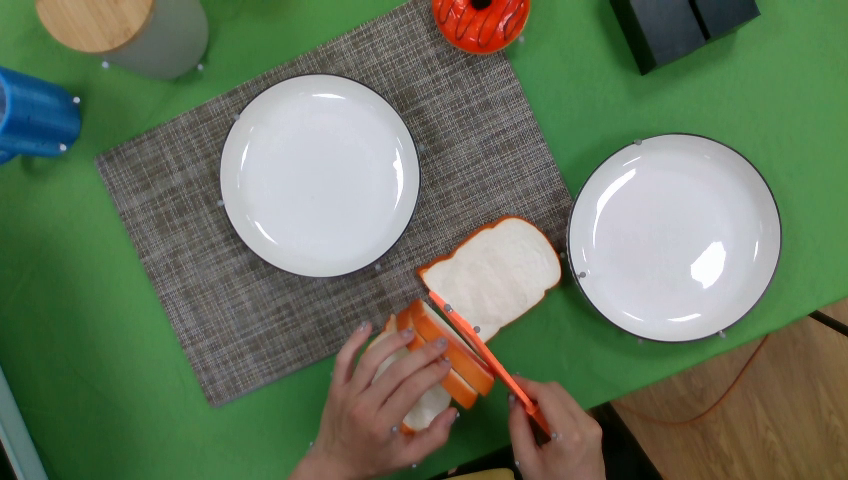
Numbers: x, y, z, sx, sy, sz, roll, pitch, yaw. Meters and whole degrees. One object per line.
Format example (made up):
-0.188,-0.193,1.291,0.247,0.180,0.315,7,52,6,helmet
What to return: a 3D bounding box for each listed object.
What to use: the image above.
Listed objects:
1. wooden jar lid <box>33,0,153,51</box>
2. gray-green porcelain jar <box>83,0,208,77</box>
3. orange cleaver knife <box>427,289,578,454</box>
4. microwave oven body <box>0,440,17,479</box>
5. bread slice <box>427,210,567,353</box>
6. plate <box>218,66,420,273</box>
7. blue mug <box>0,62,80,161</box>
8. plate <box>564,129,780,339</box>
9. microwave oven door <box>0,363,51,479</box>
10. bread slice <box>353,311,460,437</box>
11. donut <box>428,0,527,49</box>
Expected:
-0.284,-0.218,0.526,0.108,0.021,0.108,0,92,5,wooden jar lid
-0.280,-0.220,0.588,0.106,0.126,0.106,0,93,4,gray-green porcelain jar
0.073,0.123,0.561,0.012,0.076,0.213,-44,113,-9,orange cleaver knife
-0.613,0.221,0.564,0.326,0.260,0.442,-22,92,4,microwave oven body
0.082,0.031,0.584,0.134,0.018,0.107,-33,86,-35,bread slice
-0.106,-0.070,0.627,0.207,0.039,0.207,0,94,4,plate
-0.430,-0.121,0.613,0.082,0.106,0.116,40,95,1,blue mug
0.245,-0.006,0.614,0.209,0.038,0.209,0,94,4,plate
-0.462,0.207,0.549,0.039,0.244,0.356,-22,92,5,microwave oven door
-0.019,0.132,0.596,0.105,0.131,0.019,44,113,0,bread slice
0.054,-0.240,0.604,0.099,0.048,0.099,0,94,3,donut
